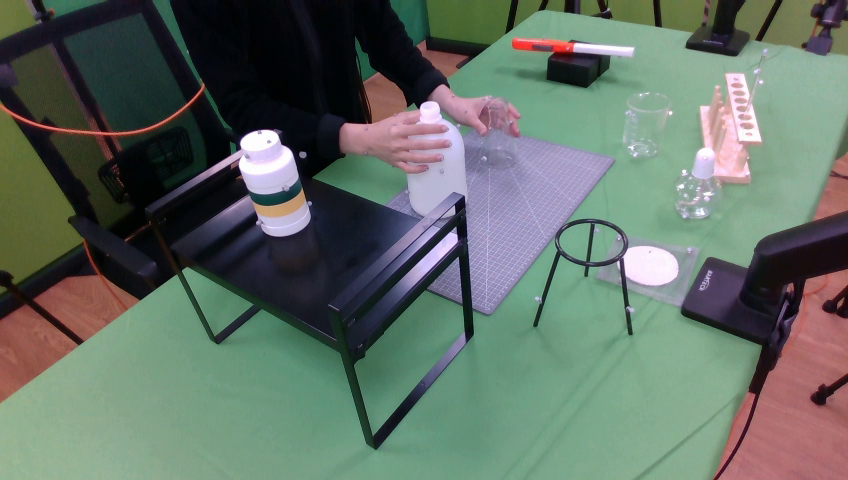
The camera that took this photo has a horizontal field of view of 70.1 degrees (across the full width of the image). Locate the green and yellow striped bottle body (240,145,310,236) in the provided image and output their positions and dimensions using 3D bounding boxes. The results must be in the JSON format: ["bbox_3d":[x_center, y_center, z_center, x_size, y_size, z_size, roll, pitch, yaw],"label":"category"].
[{"bbox_3d":[-0.181,-0.068,0.729,0.063,0.120,0.063,-4,40,4],"label":"green and yellow striped bottle body"}]

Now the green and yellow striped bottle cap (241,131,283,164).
[{"bbox_3d":[-0.187,-0.107,0.695,0.045,0.020,0.045,-3,39,3],"label":"green and yellow striped bottle cap"}]

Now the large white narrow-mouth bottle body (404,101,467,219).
[{"bbox_3d":[0.019,-0.136,0.998,0.102,0.195,0.101,-3,40,3],"label":"large white narrow-mouth bottle body"}]

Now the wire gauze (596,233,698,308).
[{"bbox_3d":[0.331,0.038,0.897,0.124,0.011,0.121,18,47,26],"label":"wire gauze"}]

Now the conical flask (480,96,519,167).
[{"bbox_3d":[0.138,-0.201,1.112,0.075,0.122,0.075,-3,41,3],"label":"conical flask"}]

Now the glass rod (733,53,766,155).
[{"bbox_3d":[0.540,-0.219,1.006,0.008,0.201,0.008,-5,45,6],"label":"glass rod"}]

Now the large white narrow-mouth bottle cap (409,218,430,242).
[{"bbox_3d":[-0.008,-0.017,1.000,0.038,0.024,0.037,-3,39,3],"label":"large white narrow-mouth bottle cap"}]

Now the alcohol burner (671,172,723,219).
[{"bbox_3d":[0.434,-0.093,0.955,0.078,0.119,0.077,-3,43,3],"label":"alcohol burner"}]

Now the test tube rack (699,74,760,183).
[{"bbox_3d":[0.547,-0.208,1.095,0.066,0.085,0.242,6,42,16],"label":"test tube rack"}]

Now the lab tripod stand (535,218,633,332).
[{"bbox_3d":[0.216,0.050,0.803,0.148,0.132,0.147,-4,42,4],"label":"lab tripod stand"}]

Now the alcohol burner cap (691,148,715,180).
[{"bbox_3d":[0.432,-0.120,0.930,0.034,0.048,0.033,-7,48,8],"label":"alcohol burner cap"}]

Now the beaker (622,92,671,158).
[{"bbox_3d":[0.402,-0.210,1.106,0.074,0.101,0.083,-9,40,-2],"label":"beaker"}]

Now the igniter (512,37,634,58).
[{"bbox_3d":[0.328,-0.433,1.360,0.275,0.025,0.057,12,33,20],"label":"igniter"}]
